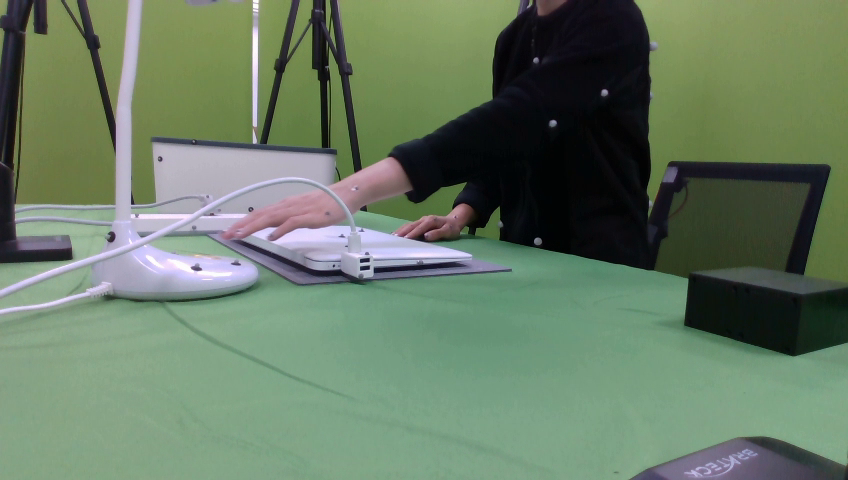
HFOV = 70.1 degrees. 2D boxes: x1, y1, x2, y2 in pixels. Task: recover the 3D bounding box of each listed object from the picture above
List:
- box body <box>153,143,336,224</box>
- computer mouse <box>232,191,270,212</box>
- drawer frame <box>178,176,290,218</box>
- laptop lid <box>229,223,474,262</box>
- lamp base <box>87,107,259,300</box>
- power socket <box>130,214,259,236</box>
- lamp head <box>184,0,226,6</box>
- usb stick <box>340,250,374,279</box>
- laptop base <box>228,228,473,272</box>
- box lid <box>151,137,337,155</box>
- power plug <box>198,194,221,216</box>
[{"bbox_3d":[-0.380,-0.130,1.344,0.365,0.160,0.253,1,7,-9],"label":"box body"},{"bbox_3d":[-0.382,-0.086,1.343,0.063,0.041,0.117,9,10,-4],"label":"computer mouse"},{"bbox_3d":[-0.409,-0.100,1.340,0.214,0.082,0.201,-4,7,-10],"label":"drawer frame"},{"bbox_3d":[-0.121,0.000,0.888,0.243,0.013,0.355,1,7,-33],"label":"laptop lid"},{"bbox_3d":[-0.254,-0.039,0.603,0.160,0.180,0.179,5,10,18],"label":"lamp base"},{"bbox_3d":[-0.397,-0.028,1.048,0.228,0.032,0.072,-3,7,-35],"label":"power socket"},{"bbox_3d":[-0.229,-0.320,0.627,0.112,0.112,0.123,6,-36,26],"label":"lamp head"},{"bbox_3d":[-0.079,0.026,0.686,0.021,0.027,0.059,-9,9,-31],"label":"usb stick"},{"bbox_3d":[-0.124,0.012,0.889,0.237,0.023,0.352,1,7,-35],"label":"laptop base"},{"bbox_3d":[-0.379,-0.203,1.334,0.372,0.015,0.262,2,7,-9],"label":"box lid"},{"bbox_3d":[-0.386,-0.055,1.088,0.035,0.052,0.072,-1,7,-23],"label":"power plug"}]
